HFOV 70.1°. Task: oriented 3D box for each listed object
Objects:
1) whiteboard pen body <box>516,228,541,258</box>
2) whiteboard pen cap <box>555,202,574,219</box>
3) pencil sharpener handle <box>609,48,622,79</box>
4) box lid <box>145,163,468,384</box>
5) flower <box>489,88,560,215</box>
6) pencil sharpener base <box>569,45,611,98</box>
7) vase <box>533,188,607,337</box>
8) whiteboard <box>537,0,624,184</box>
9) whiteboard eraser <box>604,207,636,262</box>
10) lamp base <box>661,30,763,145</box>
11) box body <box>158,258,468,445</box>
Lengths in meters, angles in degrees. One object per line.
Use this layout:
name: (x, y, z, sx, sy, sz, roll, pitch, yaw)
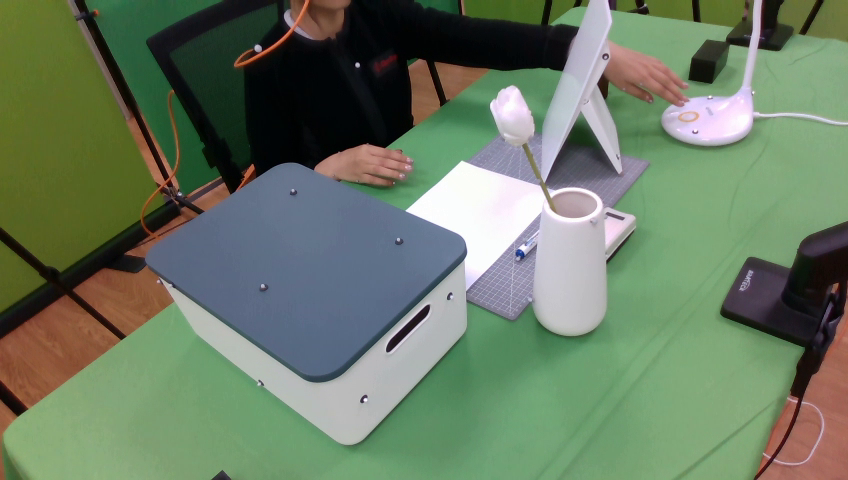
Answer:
whiteboard pen body: (0.192, -0.015, 0.963, 0.017, 0.017, 0.141, 26, 51, 34)
whiteboard pen cap: (0.230, -0.048, 0.994, 0.018, 0.018, 0.033, 26, 54, 34)
pencil sharpener handle: (0.395, -0.368, 1.254, 0.031, 0.068, 0.036, -10, 32, -1)
box lid: (-0.157, 0.014, 0.769, 0.368, 0.015, 0.264, 25, 51, 33)
flower: (0.159, -0.027, 0.720, 0.038, 0.364, 0.044, -14, 44, 23)
pencil sharpener base: (0.346, -0.352, 1.263, 0.077, 0.107, 0.061, -10, 40, -1)
vase: (0.187, 0.033, 0.771, 0.098, 0.201, 0.097, -6, 41, 6)
whiteboard: (0.316, -0.256, 1.047, 0.144, 0.306, 0.216, 15, 42, -1)
whiteboard eraser: (0.272, -0.003, 0.919, 0.055, 0.042, 0.113, 27, 51, 32)
lamp base: (0.534, -0.287, 1.096, 0.179, 0.181, 0.159, -10, 40, -4)
box body: (-0.147, 0.072, 0.816, 0.361, 0.161, 0.255, 24, 50, 33)
